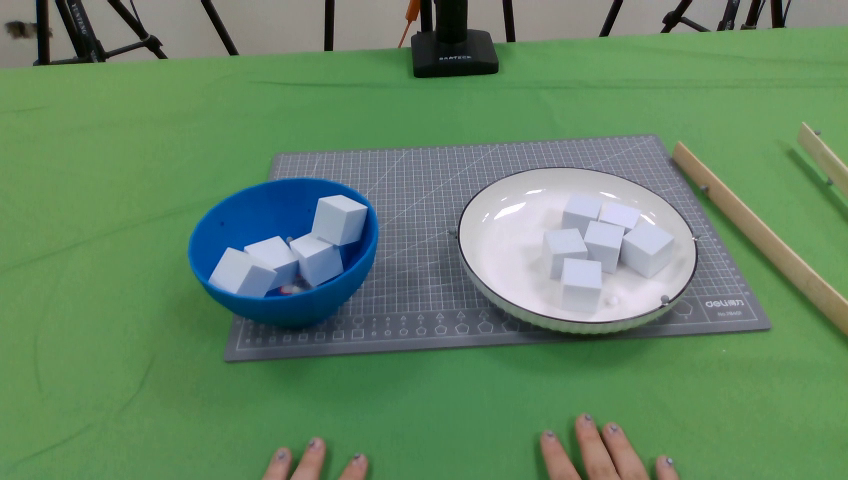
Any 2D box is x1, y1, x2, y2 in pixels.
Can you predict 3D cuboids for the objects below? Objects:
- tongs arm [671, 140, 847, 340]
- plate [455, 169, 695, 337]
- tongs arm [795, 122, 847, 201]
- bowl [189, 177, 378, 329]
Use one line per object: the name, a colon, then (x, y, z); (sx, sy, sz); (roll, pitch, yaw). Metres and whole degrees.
tongs arm: (0.332, 0.020, 0.538); (0.028, 0.028, 0.383); (-10, 43, -12)
plate: (0.131, 0.010, 0.546); (0.208, 0.039, 0.205); (-1, 42, 1)
tongs arm: (0.411, 0.009, 0.542); (0.051, 0.027, 0.380); (-4, 43, -1)
bowl: (-0.111, 0.022, 0.511); (0.151, 0.077, 0.150); (-1, 42, 1)
